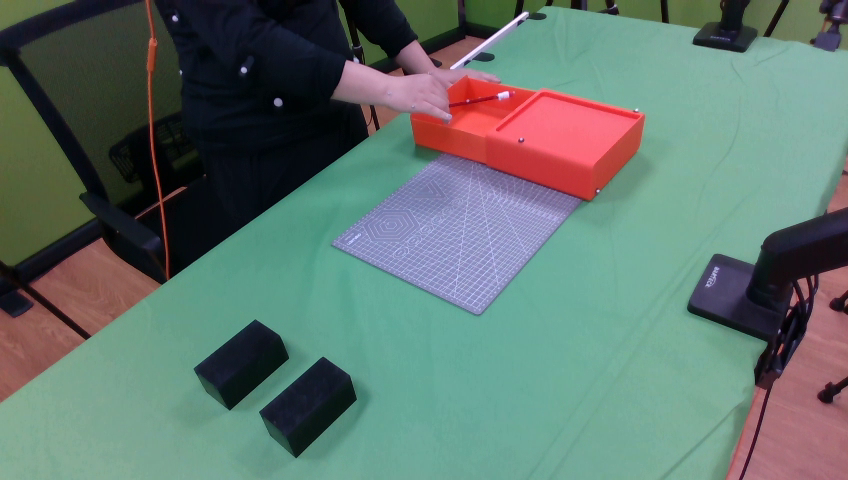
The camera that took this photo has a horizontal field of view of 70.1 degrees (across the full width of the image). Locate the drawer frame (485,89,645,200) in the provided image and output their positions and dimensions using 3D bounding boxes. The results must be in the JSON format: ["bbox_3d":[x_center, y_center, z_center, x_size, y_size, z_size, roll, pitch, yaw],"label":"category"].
[{"bbox_3d":[0.253,-0.180,1.094,0.212,0.083,0.202,24,48,31],"label":"drawer frame"}]

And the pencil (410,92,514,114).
[{"bbox_3d":[0.070,-0.250,1.112,0.194,0.012,0.012,-11,40,-1],"label":"pencil"}]

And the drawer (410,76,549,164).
[{"bbox_3d":[0.113,-0.238,1.190,0.210,0.073,0.195,22,47,34],"label":"drawer"}]
